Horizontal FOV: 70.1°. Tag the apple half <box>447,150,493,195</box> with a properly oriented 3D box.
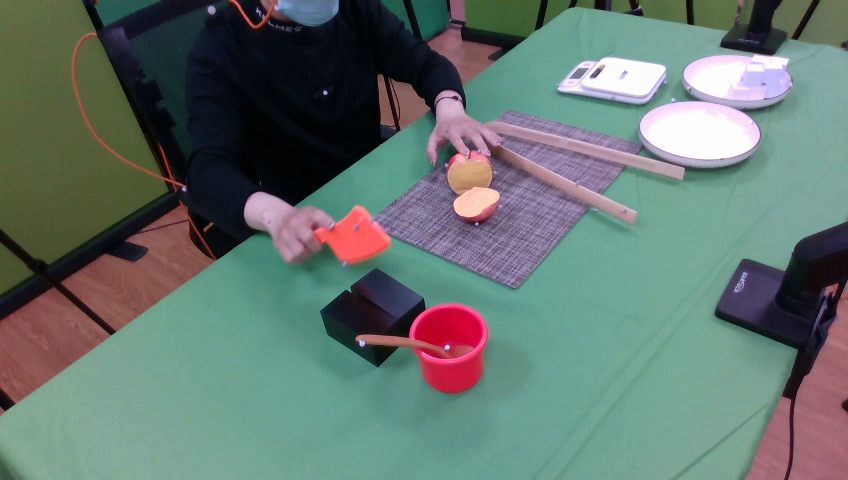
[{"bbox_3d":[0.081,-0.123,1.065,0.081,0.075,0.053,-7,37,6],"label":"apple half"}]

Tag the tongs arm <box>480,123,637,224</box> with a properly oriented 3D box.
[{"bbox_3d":[0.227,-0.128,1.080,0.051,0.026,0.381,-33,46,-26],"label":"tongs arm"}]

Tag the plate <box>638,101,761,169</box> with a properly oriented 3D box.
[{"bbox_3d":[0.500,-0.189,1.111,0.209,0.038,0.208,-4,41,4],"label":"plate"}]

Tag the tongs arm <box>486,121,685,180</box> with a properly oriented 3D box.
[{"bbox_3d":[0.287,-0.170,1.124,0.384,0.028,0.028,21,52,29],"label":"tongs arm"}]

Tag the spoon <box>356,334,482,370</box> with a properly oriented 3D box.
[{"bbox_3d":[-0.001,0.130,0.731,0.195,0.021,0.041,21,28,-39],"label":"spoon"}]

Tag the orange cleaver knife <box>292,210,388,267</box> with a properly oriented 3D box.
[{"bbox_3d":[-0.123,0.005,0.859,0.210,0.077,0.012,-13,25,50],"label":"orange cleaver knife"}]

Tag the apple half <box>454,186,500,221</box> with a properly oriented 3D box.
[{"bbox_3d":[0.091,-0.056,1.015,0.081,0.033,0.081,-16,36,13],"label":"apple half"}]

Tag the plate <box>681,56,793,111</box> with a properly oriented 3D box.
[{"bbox_3d":[0.636,-0.317,1.239,0.207,0.039,0.206,-4,40,4],"label":"plate"}]

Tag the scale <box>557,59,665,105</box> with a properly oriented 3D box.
[{"bbox_3d":[0.407,-0.348,1.314,0.199,0.032,0.149,19,47,28],"label":"scale"}]
